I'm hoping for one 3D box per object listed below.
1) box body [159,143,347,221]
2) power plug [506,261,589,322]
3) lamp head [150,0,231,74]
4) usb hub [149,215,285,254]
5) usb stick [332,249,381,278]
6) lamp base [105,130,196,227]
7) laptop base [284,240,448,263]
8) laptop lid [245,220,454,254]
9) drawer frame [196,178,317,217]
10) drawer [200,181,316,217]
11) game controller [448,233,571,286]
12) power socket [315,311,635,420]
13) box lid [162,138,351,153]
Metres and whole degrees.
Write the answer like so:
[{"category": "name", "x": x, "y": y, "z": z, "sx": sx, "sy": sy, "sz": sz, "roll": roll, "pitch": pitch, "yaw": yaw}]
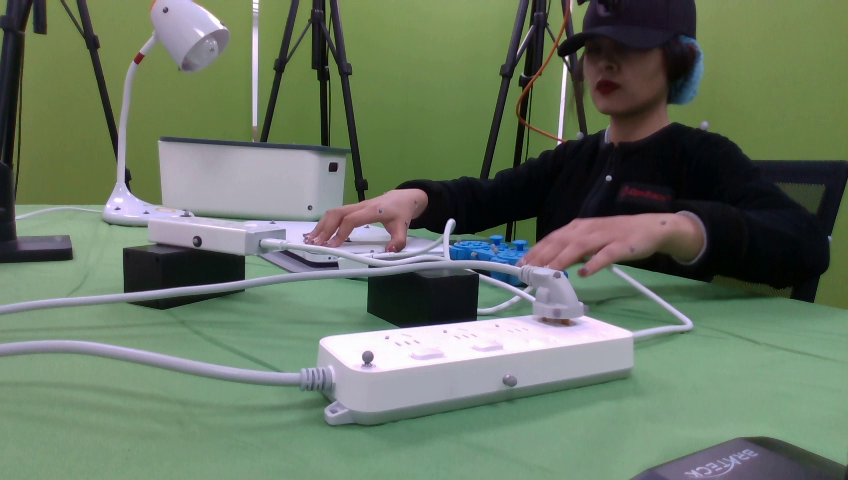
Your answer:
[{"category": "box body", "x": -0.384, "y": -0.137, "z": 1.406, "sx": 0.364, "sy": 0.160, "sz": 0.254, "roll": 3, "pitch": 8, "yaw": 7}, {"category": "power plug", "x": 0.091, "y": 0.043, "z": 0.444, "sx": 0.035, "sy": 0.052, "sz": 0.072, "roll": -1, "pitch": 5, "yaw": -18}, {"category": "lamp head", "x": -0.432, "y": -0.374, "z": 1.086, "sx": 0.123, "sy": 0.112, "sz": 0.112, "roll": 42, "pitch": 8, "yaw": -2}, {"category": "usb hub", "x": -0.196, "y": -0.006, "z": 0.573, "sx": 0.125, "sy": 0.025, "sz": 0.050, "roll": 7, "pitch": 8, "yaw": 23}, {"category": "usb stick", "x": -0.082, "y": 0.028, "z": 0.705, "sx": 0.059, "sy": 0.027, "sz": 0.021, "roll": -11, "pitch": 7, "yaw": 23}, {"category": "lamp base", "x": -0.532, "y": -0.120, "z": 1.153, "sx": 0.179, "sy": 0.180, "sz": 0.161, "roll": 1, "pitch": 7, "yaw": 8}, {"category": "laptop base", "x": -0.125, "y": 0.003, "z": 0.946, "sx": 0.237, "sy": 0.023, "sz": 0.352, "roll": 1, "pitch": 7, "yaw": -31}, {"category": "laptop lid", "x": -0.123, "y": -0.009, "z": 0.945, "sx": 0.243, "sy": 0.013, "sz": 0.355, "roll": 0, "pitch": 7, "yaw": -29}, {"category": "drawer frame", "x": -0.376, "y": -0.101, "z": 1.393, "sx": 0.213, "sy": 0.082, "sz": 0.202, "roll": 1, "pitch": 8, "yaw": 6}, {"category": "drawer", "x": -0.372, "y": -0.097, "z": 1.393, "sx": 0.212, "sy": 0.073, "sz": 0.194, "roll": 1, "pitch": 9, "yaw": 6}, {"category": "game controller", "x": 0.099, "y": 0.021, "z": 0.756, "sx": 0.097, "sy": 0.051, "sz": 0.154, "roll": -8, "pitch": 10, "yaw": -29}, {"category": "power socket", "x": 0.039, "y": 0.072, "z": 0.385, "sx": 0.228, "sy": 0.032, "sz": 0.072, "roll": -2, "pitch": 7, "yaw": -29}, {"category": "box lid", "x": -0.371, "y": -0.215, "z": 1.394, "sx": 0.371, "sy": 0.015, "sz": 0.263, "roll": 4, "pitch": 8, "yaw": 7}]
